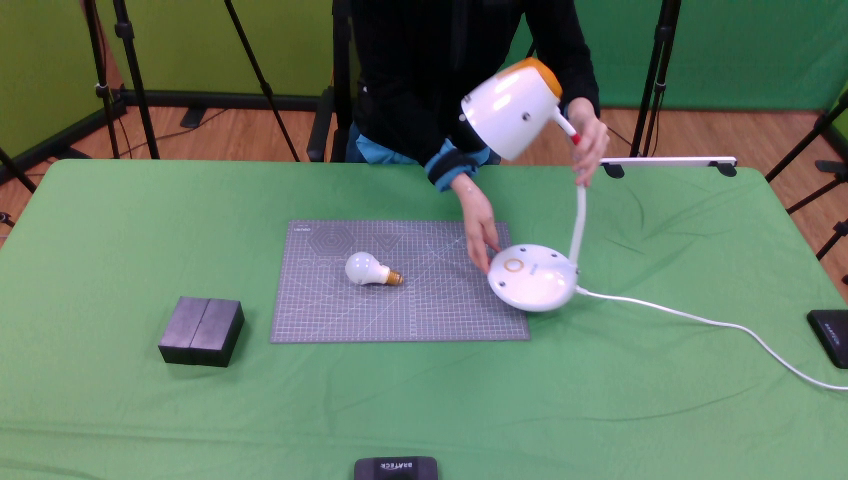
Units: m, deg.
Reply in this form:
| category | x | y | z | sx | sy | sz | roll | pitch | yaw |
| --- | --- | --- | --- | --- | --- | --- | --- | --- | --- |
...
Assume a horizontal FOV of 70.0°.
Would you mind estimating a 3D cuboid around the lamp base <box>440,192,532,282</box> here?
| category | x | y | z | sx | sy | sz | roll | pitch | yaw |
| --- | --- | --- | --- | --- | --- | --- | --- | --- | --- |
| lamp base | 0.127 | -0.032 | 1.123 | 0.179 | 0.181 | 0.159 | 10 | 46 | 2 |

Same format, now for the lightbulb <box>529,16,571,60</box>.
| category | x | y | z | sx | sy | sz | roll | pitch | yaw |
| --- | --- | --- | --- | --- | --- | --- | --- | --- | --- |
| lightbulb | 0.181 | -0.290 | 0.894 | 0.059 | 0.107 | 0.059 | 0 | 91 | -1 |

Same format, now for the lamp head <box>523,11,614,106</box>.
| category | x | y | z | sx | sy | sz | roll | pitch | yaw |
| --- | --- | --- | --- | --- | --- | --- | --- | --- | --- |
| lamp head | 0.218 | -0.249 | 0.886 | 0.112 | 0.123 | 0.111 | -25 | 46 | 30 |
